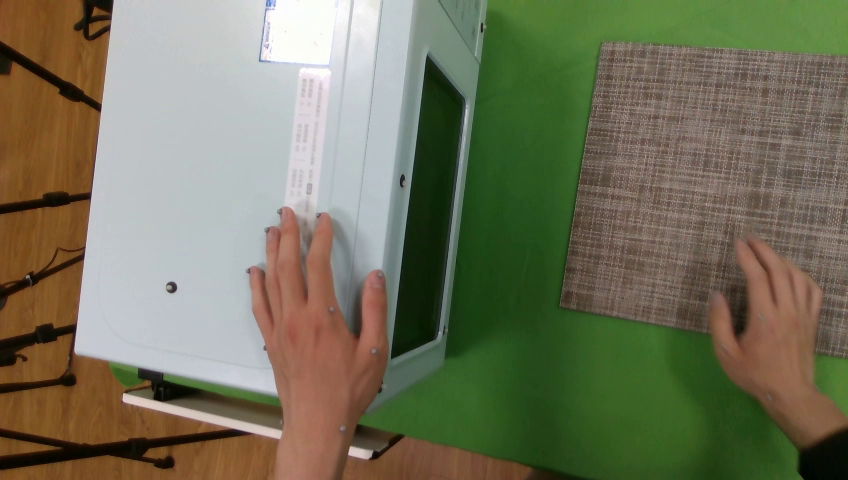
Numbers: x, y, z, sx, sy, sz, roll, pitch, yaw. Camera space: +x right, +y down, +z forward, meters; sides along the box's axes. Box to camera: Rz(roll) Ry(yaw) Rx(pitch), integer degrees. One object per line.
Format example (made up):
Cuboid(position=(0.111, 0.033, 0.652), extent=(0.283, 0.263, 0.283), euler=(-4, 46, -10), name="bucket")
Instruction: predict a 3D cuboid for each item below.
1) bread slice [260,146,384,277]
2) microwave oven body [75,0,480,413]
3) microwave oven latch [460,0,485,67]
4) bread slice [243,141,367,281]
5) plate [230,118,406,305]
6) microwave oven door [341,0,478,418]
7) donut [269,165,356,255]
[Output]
Cuboid(position=(-0.124, -0.038, 0.682), extent=(0.107, 0.018, 0.133), euler=(-41, 75, 3), name="bread slice")
Cuboid(position=(-0.139, -0.085, 0.643), extent=(0.325, 0.261, 0.441), euler=(7, 91, 16), name="microwave oven body")
Cuboid(position=(0.052, -0.240, 0.691), extent=(0.030, 0.029, 0.079), euler=(7, 91, 16), name="microwave oven latch")
Cuboid(position=(-0.135, -0.036, 0.636), extent=(0.105, 0.019, 0.131), euler=(-36, 82, 16), name="bread slice")
Cuboid(position=(-0.117, -0.031, 0.687), extent=(0.207, 0.039, 0.207), euler=(0, 89, 13), name="plate")
Cuboid(position=(-0.006, -0.028, 0.597), extent=(0.039, 0.245, 0.355), euler=(7, 90, 17), name="microwave oven door")
Cuboid(position=(-0.121, -0.032, 0.659), extent=(0.099, 0.048, 0.099), euler=(0, 88, 11), name="donut")
